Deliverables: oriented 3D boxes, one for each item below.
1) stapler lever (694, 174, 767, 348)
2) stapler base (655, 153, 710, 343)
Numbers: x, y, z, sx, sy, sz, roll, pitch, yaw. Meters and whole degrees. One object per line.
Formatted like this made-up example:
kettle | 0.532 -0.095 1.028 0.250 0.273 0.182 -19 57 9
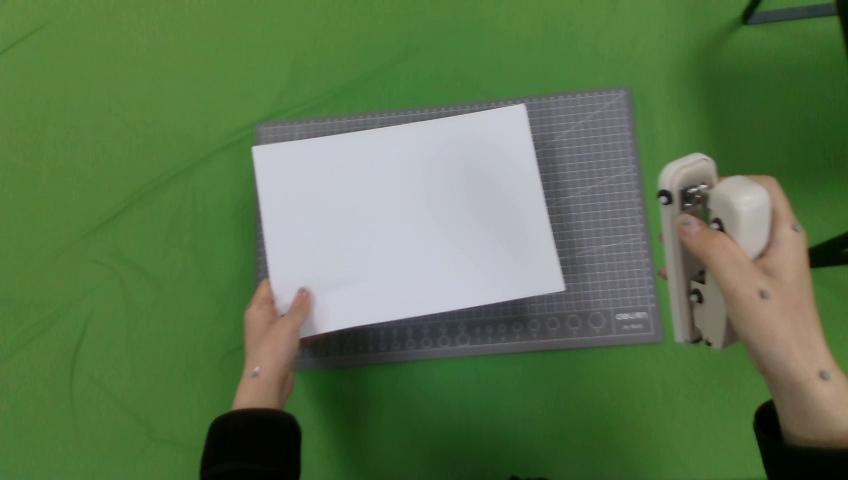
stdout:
stapler lever | 0.190 0.017 0.376 0.027 0.040 0.119 -21 113 -18
stapler base | 0.179 0.010 0.396 0.041 0.024 0.131 -21 113 -18
